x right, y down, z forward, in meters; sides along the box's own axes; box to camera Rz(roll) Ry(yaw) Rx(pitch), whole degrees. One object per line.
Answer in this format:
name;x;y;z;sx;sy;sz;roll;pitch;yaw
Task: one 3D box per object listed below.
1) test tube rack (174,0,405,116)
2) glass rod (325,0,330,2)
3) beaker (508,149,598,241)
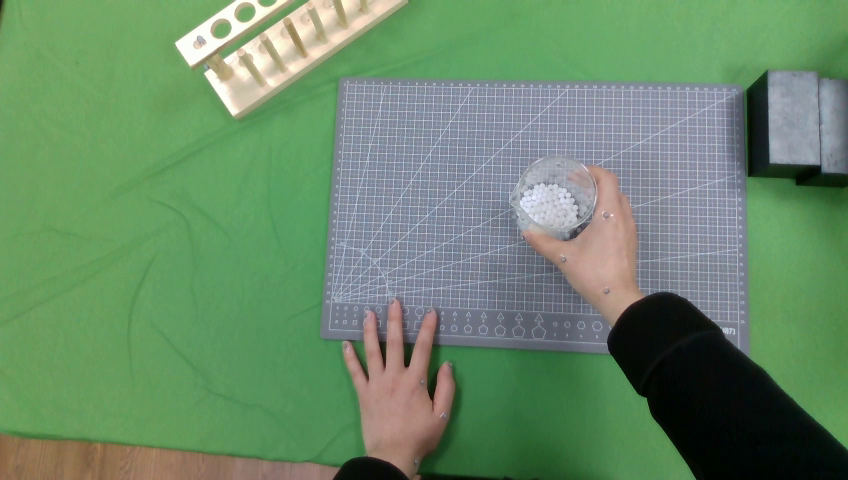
test tube rack;-0.141;-0.245;0.669;0.242;0.085;0.066;-35;80;-2
glass rod;-0.125;-0.286;0.607;0.008;0.200;0.008;0;86;8
beaker;0.125;-0.040;0.612;0.084;0.100;0.073;-9;80;3
